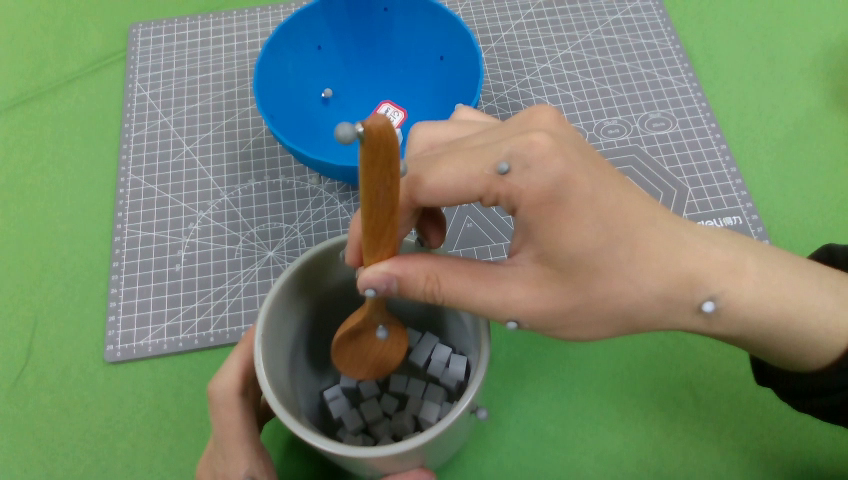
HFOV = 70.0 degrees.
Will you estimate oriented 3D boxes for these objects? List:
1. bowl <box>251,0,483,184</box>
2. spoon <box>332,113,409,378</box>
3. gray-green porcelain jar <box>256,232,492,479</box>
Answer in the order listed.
[{"bbox_3d":[-0.035,-0.093,0.425,0.151,0.077,0.150,-1,64,2],"label":"bowl"},{"bbox_3d":[-0.020,0.019,0.254,0.042,0.195,0.021,-7,62,-11],"label":"spoon"},{"bbox_3d":[-0.019,0.069,0.323,0.106,0.127,0.105,-1,64,2],"label":"gray-green porcelain jar"}]
